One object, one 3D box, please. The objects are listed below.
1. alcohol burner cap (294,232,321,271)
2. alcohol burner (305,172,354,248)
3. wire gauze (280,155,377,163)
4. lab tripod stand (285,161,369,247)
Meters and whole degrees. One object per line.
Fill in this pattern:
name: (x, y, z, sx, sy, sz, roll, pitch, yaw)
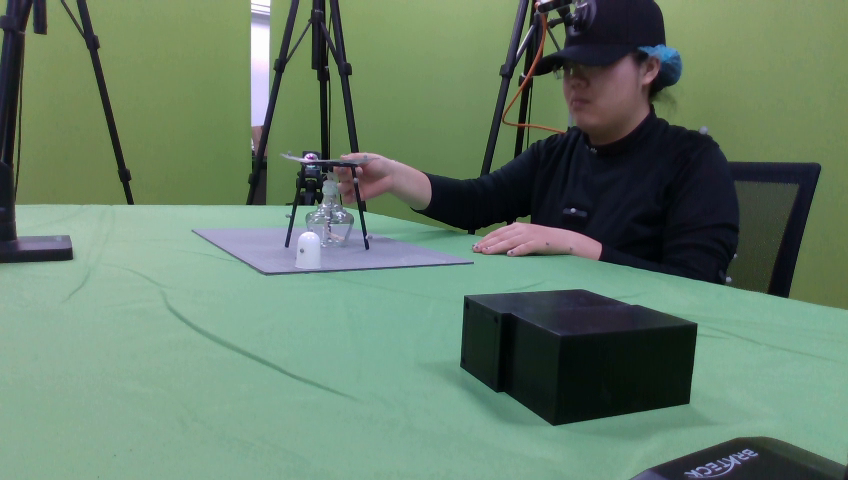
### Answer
alcohol burner cap: (-0.144, 0.013, 0.748, 0.034, 0.048, 0.034, 3, 6, 0)
alcohol burner: (-0.148, -0.048, 0.949, 0.078, 0.119, 0.078, 1, 6, 0)
wire gauze: (-0.147, -0.124, 0.936, 0.122, 0.011, 0.124, -2, 7, -32)
lab tripod stand: (-0.151, -0.058, 0.947, 0.148, 0.131, 0.148, 1, 6, 0)
